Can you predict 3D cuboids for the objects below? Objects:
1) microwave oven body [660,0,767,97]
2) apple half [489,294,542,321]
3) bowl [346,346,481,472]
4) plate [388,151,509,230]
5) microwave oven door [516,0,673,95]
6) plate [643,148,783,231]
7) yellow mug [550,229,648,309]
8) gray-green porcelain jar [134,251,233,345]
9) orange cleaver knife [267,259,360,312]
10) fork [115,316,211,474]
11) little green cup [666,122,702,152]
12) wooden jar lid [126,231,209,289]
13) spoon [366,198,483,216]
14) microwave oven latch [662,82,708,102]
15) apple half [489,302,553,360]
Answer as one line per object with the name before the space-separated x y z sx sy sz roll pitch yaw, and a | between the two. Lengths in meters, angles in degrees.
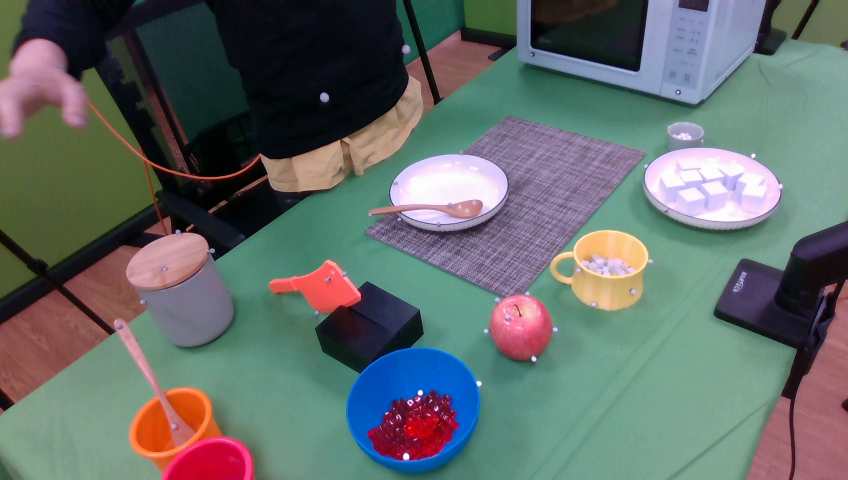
microwave oven body | 0.473 -0.516 1.313 0.438 0.261 0.327 26 51 34
apple half | 0.120 0.098 0.800 0.081 0.081 0.032 -10 44 -4
bowl | -0.008 0.205 0.691 0.151 0.077 0.150 -4 40 4
plate | 0.044 -0.082 1.042 0.209 0.038 0.208 -4 40 4
microwave oven door | 0.344 -0.458 1.256 0.353 0.245 0.039 26 51 33
plate | 0.464 -0.080 0.986 0.207 0.039 0.206 -4 41 4
yellow mug | 0.245 0.040 0.857 0.130 0.064 0.099 1 42 11
gray-green porcelain jar | -0.334 0.076 0.849 0.106 0.127 0.105 -4 41 4
orange cleaver knife | -0.161 0.070 0.859 0.210 0.077 0.012 -13 22 49
fork | -0.308 0.179 0.708 0.028 0.018 0.207 -30 89 -21
little green cup | 0.471 -0.184 1.102 0.061 0.039 0.061 -5 41 5
wooden jar lid | -0.340 0.030 0.808 0.108 0.021 0.108 -5 39 5
spoon | 0.002 -0.055 0.996 0.194 0.022 0.041 -1 46 -10
microwave oven latch | 0.517 -0.298 1.202 0.078 0.029 0.030 27 52 34
apple half | 0.127 0.123 0.771 0.081 0.075 0.053 -8 44 -6
